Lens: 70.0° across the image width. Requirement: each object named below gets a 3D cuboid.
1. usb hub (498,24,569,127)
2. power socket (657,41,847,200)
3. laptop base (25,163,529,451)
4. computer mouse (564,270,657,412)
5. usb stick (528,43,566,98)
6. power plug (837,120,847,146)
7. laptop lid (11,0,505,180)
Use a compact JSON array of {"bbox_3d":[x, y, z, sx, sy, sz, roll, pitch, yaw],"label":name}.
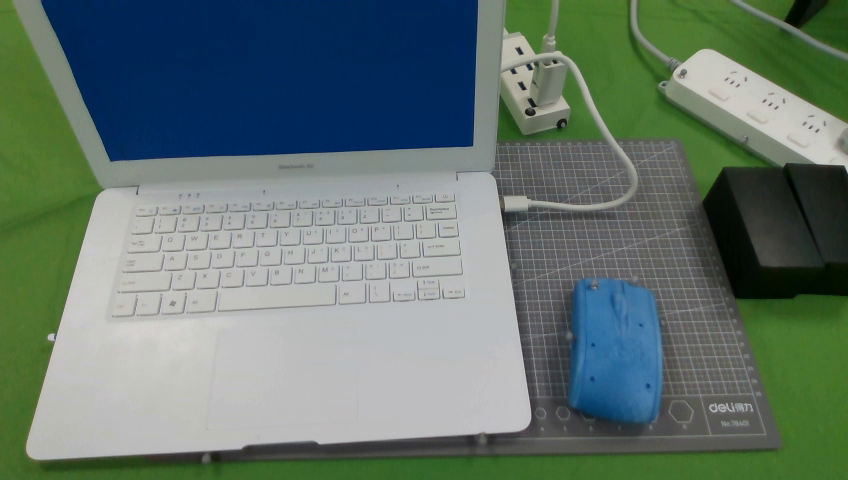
[{"bbox_3d":[0.099,-0.171,0.622,0.049,0.025,0.124,-15,58,-10],"label":"usb hub"},{"bbox_3d":[0.338,-0.121,0.588,0.072,0.033,0.225,-38,64,-23],"label":"power socket"},{"bbox_3d":[-0.107,0.041,0.486,0.354,0.023,0.233,-3,60,-2],"label":"laptop base"},{"bbox_3d":[0.140,0.070,0.454,0.062,0.041,0.116,9,53,8],"label":"computer mouse"},{"bbox_3d":[0.116,-0.155,0.577,0.027,0.059,0.021,-18,57,-10],"label":"usb stick"},{"bbox_3d":[0.410,-0.105,0.551,0.072,0.053,0.035,-30,60,-17],"label":"power plug"},{"bbox_3d":[-0.115,-0.145,0.467,0.357,0.244,0.013,-4,44,-1],"label":"laptop lid"}]
